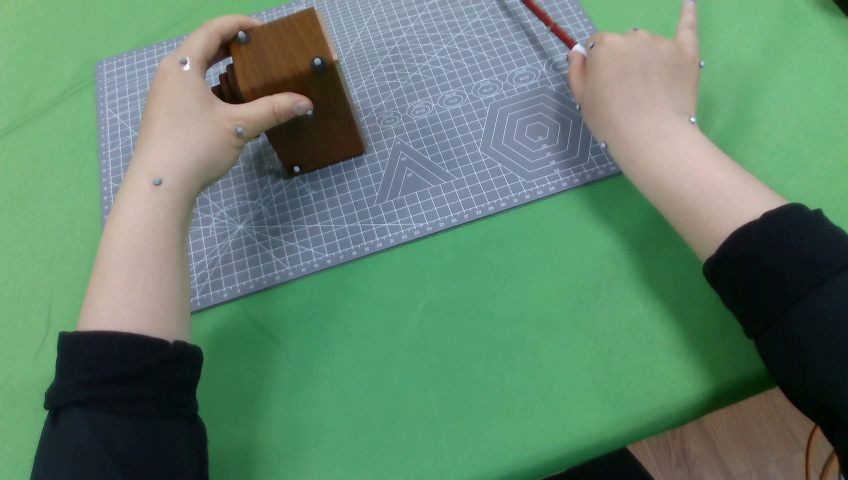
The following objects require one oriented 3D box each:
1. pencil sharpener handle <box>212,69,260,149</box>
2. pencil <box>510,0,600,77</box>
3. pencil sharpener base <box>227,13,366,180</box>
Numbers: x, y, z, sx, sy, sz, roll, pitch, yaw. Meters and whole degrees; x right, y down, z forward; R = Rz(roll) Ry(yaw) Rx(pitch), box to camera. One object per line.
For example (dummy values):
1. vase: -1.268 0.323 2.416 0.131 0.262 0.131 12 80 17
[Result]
1. pencil sharpener handle: -0.146 -0.094 0.453 0.030 0.068 0.035 -20 61 -3
2. pencil: 0.094 -0.201 0.537 0.012 0.012 0.192 -28 57 -8
3. pencil sharpener base: -0.096 -0.105 0.467 0.077 0.108 0.061 -20 61 -3
